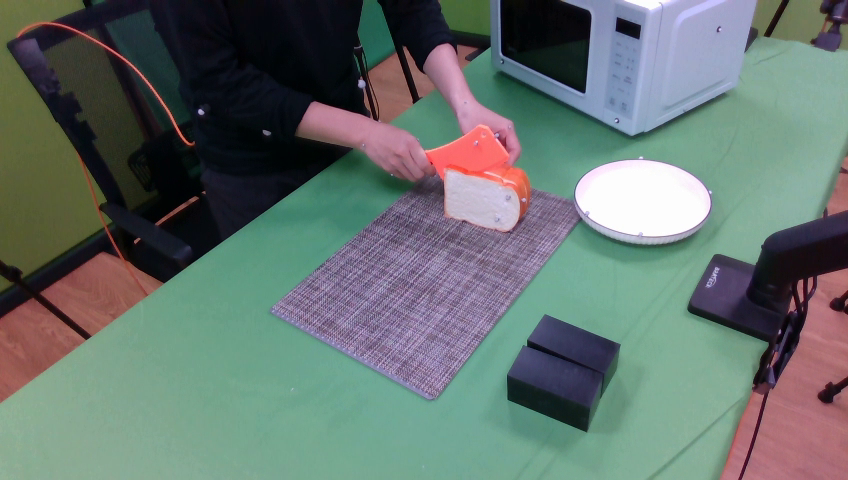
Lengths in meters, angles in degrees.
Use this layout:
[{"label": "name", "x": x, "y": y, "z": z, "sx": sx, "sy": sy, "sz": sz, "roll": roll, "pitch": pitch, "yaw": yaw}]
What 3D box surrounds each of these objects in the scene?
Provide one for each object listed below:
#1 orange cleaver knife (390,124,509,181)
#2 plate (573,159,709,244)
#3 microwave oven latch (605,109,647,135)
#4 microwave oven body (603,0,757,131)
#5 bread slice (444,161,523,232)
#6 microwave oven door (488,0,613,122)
[{"label": "orange cleaver knife", "x": 0.036, "y": -0.126, "z": 0.961, "sx": 0.210, "sy": 0.077, "sz": 0.012, "roll": -12, "pitch": 25, "yaw": 36}, {"label": "plate", "x": 0.347, "y": -0.059, "z": 0.978, "sx": 0.207, "sy": 0.039, "sz": 0.206, "roll": -4, "pitch": 41, "yaw": 4}, {"label": "microwave oven latch", "x": 0.379, "y": -0.225, "z": 1.139, "sx": 0.030, "sy": 0.029, "sz": 0.078, "roll": -26, "pitch": 43, "yaw": -20}, {"label": "microwave oven body", "x": 0.396, "y": -0.448, "z": 1.248, "sx": 0.327, "sy": 0.261, "sz": 0.437, "roll": -27, "pitch": 44, "yaw": -21}, {"label": "bread slice", "x": 0.093, "y": -0.067, "z": 0.964, "sx": 0.133, "sy": 0.107, "sz": 0.018, "roll": 16, "pitch": 45, "yaw": 22}, {"label": "microwave oven door", "x": 0.250, "y": -0.412, "z": 1.219, "sx": 0.039, "sy": 0.245, "sz": 0.352, "roll": -27, "pitch": 44, "yaw": -21}]
